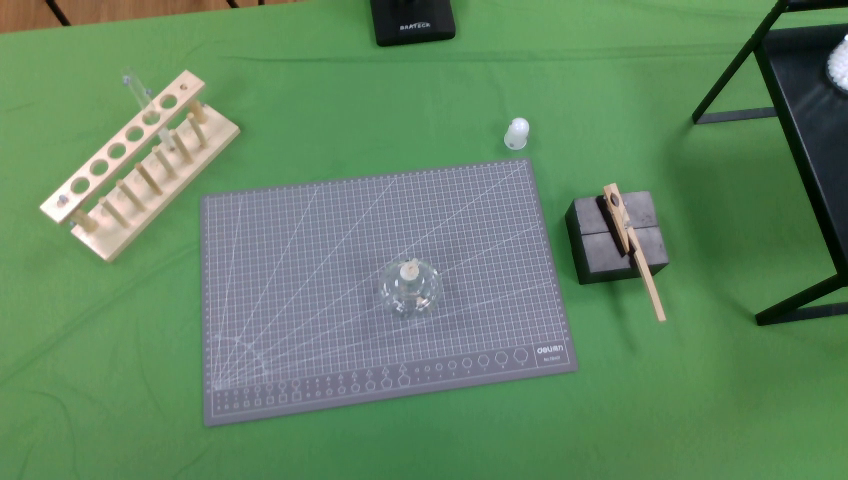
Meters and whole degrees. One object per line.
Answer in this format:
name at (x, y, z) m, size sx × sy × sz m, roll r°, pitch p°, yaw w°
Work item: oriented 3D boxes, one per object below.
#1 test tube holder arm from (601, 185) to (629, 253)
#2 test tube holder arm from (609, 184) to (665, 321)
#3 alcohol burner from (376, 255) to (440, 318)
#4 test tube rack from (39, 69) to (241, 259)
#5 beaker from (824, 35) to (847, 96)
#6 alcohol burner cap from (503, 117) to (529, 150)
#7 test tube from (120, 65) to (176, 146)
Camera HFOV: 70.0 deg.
test tube holder arm at (0.240, -0.026, 0.754) m, size 0.010 × 0.015 × 0.087 m, roll -19°, pitch 75°, yaw 9°
test tube holder arm at (0.258, 0.014, 0.742) m, size 0.013 × 0.015 × 0.177 m, roll -20°, pitch 75°, yaw 8°
alcohol burner at (-0.019, 0.049, 0.716) m, size 0.078 × 0.120 × 0.077 m, roll 1°, pitch 67°, yaw -2°
test tube rack at (-0.353, -0.098, 0.776) m, size 0.066 × 0.086 × 0.242 m, roll 36°, pitch 72°, yaw 11°
beaker at (0.490, -0.208, 0.649) m, size 0.084 × 0.101 × 0.073 m, roll 21°, pitch 70°, yaw 6°
alcohol burner cap at (0.128, -0.150, 0.838) m, size 0.034 × 0.048 × 0.033 m, roll 1°, pitch 69°, yaw -2°
test tube at (-0.337, -0.161, 0.747) m, size 0.017 × 0.151 × 0.017 m, roll 1°, pitch 66°, yaw -2°
